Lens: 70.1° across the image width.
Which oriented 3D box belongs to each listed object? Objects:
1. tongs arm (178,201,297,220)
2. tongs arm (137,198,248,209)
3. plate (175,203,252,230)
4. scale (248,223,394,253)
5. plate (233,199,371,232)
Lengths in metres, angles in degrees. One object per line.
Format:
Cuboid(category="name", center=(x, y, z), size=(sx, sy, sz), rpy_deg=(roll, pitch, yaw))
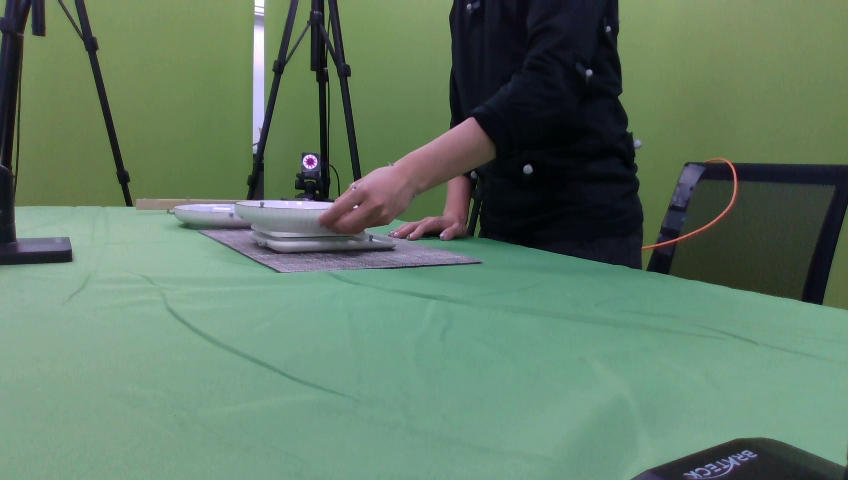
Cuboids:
Cuboid(category="tongs arm", center=(-0.418, -0.071, 1.420), size=(0.028, 0.028, 0.389), rpy_deg=(4, 7, 27))
Cuboid(category="tongs arm", center=(-0.489, -0.086, 1.472), size=(0.050, 0.026, 0.387), rpy_deg=(11, 10, 42))
Cuboid(category="plate", center=(-0.381, -0.047, 1.199), size=(0.208, 0.039, 0.207), rpy_deg=(3, 7, 0))
Cuboid(category="scale", center=(-0.162, -0.006, 0.954), size=(0.202, 0.031, 0.148), rpy_deg=(-2, 8, -32))
Cuboid(category="plate", center=(-0.188, -0.039, 0.939), size=(0.209, 0.038, 0.209), rpy_deg=(3, 7, 0))
